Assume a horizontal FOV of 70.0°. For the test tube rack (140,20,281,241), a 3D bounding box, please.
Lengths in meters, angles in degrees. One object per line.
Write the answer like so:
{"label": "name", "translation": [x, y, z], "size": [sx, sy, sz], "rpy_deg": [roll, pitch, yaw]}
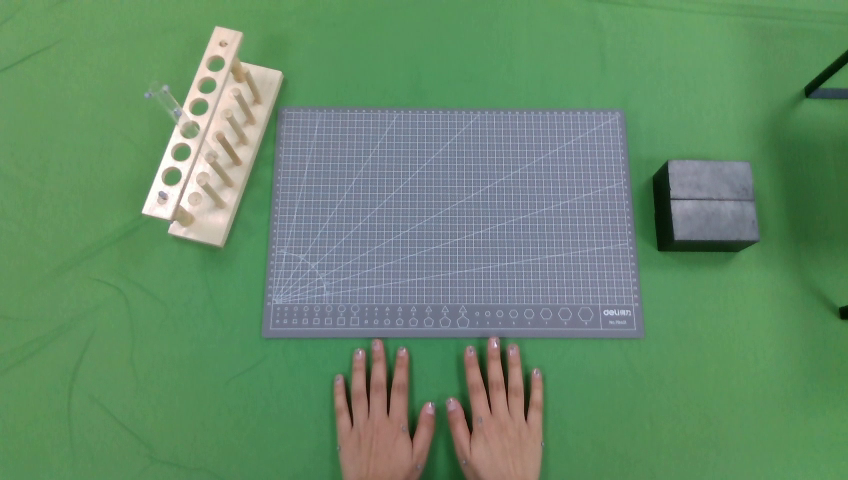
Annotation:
{"label": "test tube rack", "translation": [-0.249, -0.130, 0.727], "size": [0.067, 0.085, 0.241], "rpy_deg": [14, 75, 3]}

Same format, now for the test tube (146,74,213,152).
{"label": "test tube", "translation": [-0.269, -0.137, 0.678], "size": [0.017, 0.151, 0.017], "rpy_deg": [-1, 71, 2]}
